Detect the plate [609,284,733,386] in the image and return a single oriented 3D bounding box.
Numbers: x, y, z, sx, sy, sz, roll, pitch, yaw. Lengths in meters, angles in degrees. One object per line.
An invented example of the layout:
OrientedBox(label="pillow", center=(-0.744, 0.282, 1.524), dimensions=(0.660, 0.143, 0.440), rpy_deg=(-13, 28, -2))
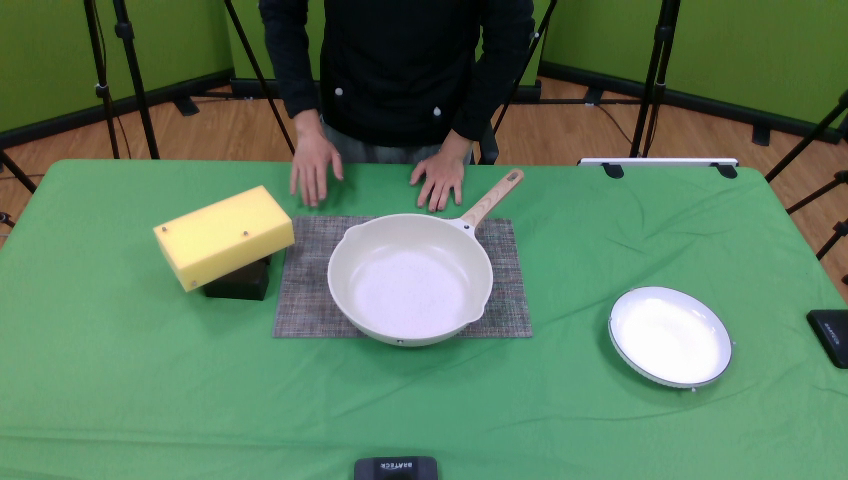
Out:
OrientedBox(label="plate", center=(0.425, 0.167, 1.059), dimensions=(0.208, 0.039, 0.206), rpy_deg=(2, 46, -2))

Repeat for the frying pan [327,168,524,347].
OrientedBox(label="frying pan", center=(0.042, 0.009, 1.132), dimensions=(0.305, 0.103, 0.487), rpy_deg=(34, 61, 24))

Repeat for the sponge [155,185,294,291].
OrientedBox(label="sponge", center=(-0.354, -0.008, 1.085), dimensions=(0.207, 0.061, 0.117), rpy_deg=(-28, 54, -27))
